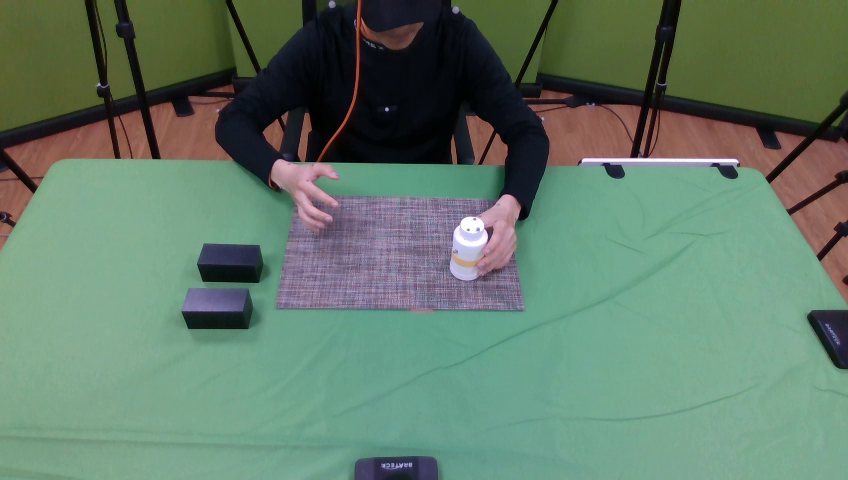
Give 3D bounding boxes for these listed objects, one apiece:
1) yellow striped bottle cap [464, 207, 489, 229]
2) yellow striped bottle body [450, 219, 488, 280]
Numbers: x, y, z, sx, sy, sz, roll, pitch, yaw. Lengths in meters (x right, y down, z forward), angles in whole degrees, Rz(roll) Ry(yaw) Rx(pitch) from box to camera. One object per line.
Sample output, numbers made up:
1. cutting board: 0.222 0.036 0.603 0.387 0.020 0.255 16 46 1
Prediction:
1. yellow striped bottle cap: 0.092 -0.039 1.064 0.044 0.019 0.044 5 39 -4
2. yellow striped bottle body: 0.083 0.012 1.117 0.063 0.121 0.062 1 46 -1
